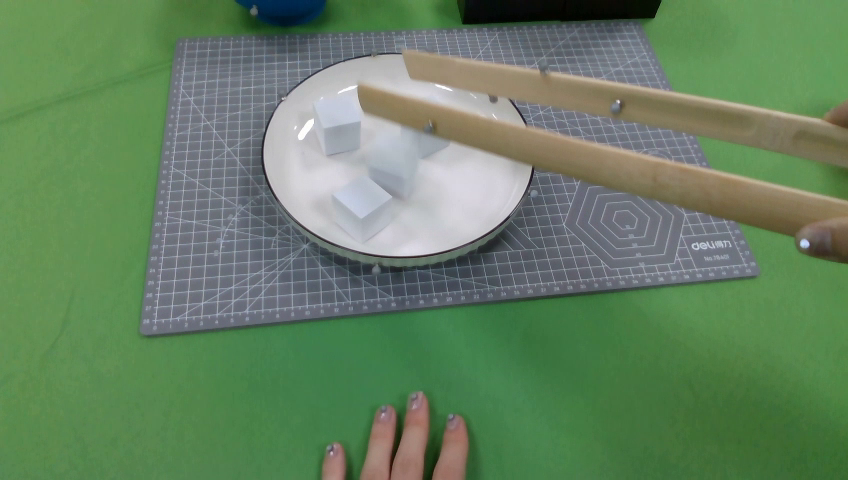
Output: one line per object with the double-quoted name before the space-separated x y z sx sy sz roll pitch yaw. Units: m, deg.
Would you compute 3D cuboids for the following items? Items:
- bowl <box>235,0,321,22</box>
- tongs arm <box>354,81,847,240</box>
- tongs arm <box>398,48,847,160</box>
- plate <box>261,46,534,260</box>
"bowl" -0.138 -0.261 0.568 0.151 0.077 0.150 2 58 -2
"tongs arm" 0.106 -0.047 0.324 0.384 0.028 0.028 20 48 33
"tongs arm" 0.126 -0.067 0.340 0.381 0.027 0.050 18 51 32
"plate" -0.019 -0.069 0.477 0.208 0.039 0.205 2 58 -2
